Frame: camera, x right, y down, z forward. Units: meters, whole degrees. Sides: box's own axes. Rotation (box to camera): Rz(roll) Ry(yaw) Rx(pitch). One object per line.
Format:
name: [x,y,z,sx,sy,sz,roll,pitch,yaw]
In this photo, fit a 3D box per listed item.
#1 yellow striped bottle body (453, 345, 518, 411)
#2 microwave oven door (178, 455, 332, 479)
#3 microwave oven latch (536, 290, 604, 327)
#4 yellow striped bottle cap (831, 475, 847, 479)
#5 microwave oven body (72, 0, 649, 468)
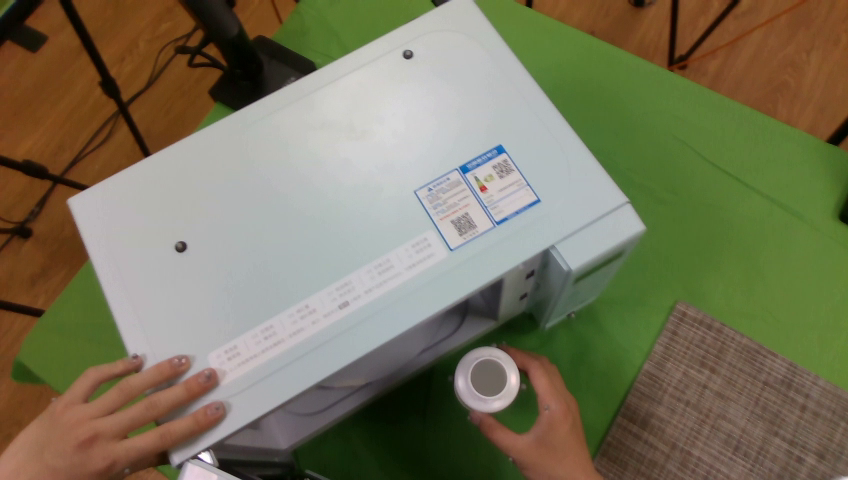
yellow striped bottle body: [0.061,0.140,0.610,0.063,0.121,0.062,-1,74,4]
microwave oven door: [-0.018,0.279,0.547,0.355,0.245,0.039,19,72,11]
microwave oven latch: [0.173,0.072,0.718,0.079,0.030,0.030,-28,71,-5]
yellow striped bottle cap: [0.459,0.275,0.649,0.044,0.019,0.044,-2,69,5]
microwave oven body: [-0.062,0.006,0.655,0.442,0.262,0.323,-30,71,-6]
